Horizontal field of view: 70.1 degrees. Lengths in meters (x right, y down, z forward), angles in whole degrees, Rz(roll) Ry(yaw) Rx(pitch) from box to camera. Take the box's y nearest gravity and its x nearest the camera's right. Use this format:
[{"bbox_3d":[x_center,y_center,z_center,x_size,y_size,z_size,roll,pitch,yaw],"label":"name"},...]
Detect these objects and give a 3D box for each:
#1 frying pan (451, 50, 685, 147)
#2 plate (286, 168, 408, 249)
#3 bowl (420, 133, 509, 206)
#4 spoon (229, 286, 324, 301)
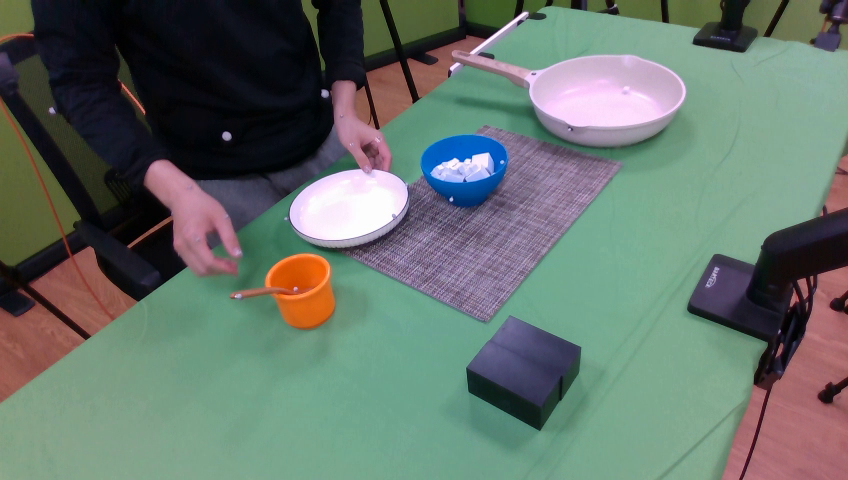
[{"bbox_3d":[0.269,-0.316,1.233,0.485,0.103,0.307,26,49,21],"label":"frying pan"},{"bbox_3d":[-0.127,-0.050,1.028,0.207,0.039,0.206,-5,39,5],"label":"plate"},{"bbox_3d":[0.071,-0.112,1.038,0.151,0.077,0.150,-4,41,4],"label":"bowl"},{"bbox_3d":[-0.197,0.071,0.816,0.041,0.195,0.021,12,88,23],"label":"spoon"}]
